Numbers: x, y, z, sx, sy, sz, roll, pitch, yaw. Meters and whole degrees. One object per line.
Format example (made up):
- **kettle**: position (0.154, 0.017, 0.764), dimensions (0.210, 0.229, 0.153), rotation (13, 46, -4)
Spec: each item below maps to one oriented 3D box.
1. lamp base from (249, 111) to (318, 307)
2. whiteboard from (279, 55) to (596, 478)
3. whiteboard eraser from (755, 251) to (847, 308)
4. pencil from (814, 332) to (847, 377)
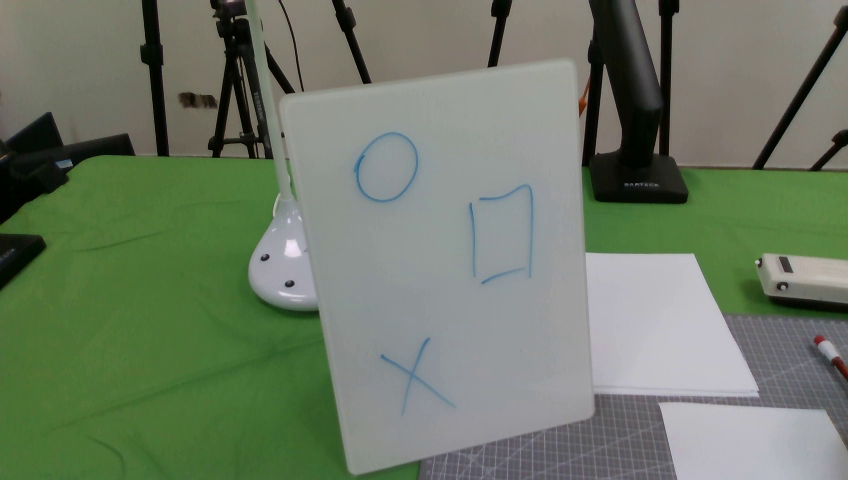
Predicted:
- **lamp base**: position (-0.137, -0.044, 0.678), dimensions (0.161, 0.182, 0.177), rotation (-28, 40, -31)
- **whiteboard**: position (0.014, 0.012, 0.530), dimensions (0.217, 0.307, 0.143), rotation (-10, 17, -9)
- **whiteboard eraser**: position (0.415, 0.043, 0.637), dimensions (0.112, 0.042, 0.055), rotation (6, 37, 13)
- **pencil**: position (0.389, 0.148, 0.509), dimensions (0.012, 0.012, 0.192), rotation (-5, 37, -2)
